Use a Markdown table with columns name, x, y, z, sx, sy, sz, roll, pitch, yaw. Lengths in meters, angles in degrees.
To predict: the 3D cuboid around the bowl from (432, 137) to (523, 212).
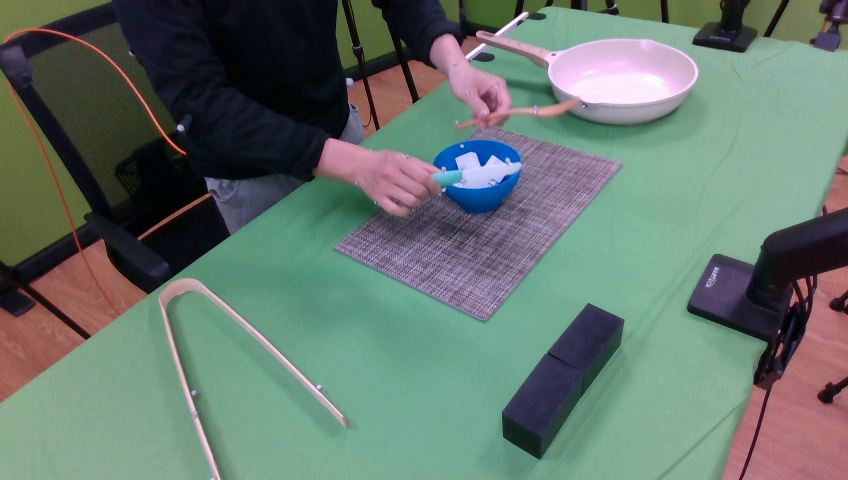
| name | x | y | z | sx | sy | sz | roll | pitch | yaw |
| --- | --- | --- | --- | --- | --- | --- | --- | --- | --- |
| bowl | 0.091 | -0.100 | 1.022 | 0.151 | 0.077 | 0.150 | -4 | 41 | 4 |

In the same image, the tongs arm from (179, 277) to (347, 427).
| name | x | y | z | sx | sy | sz | roll | pitch | yaw |
| --- | --- | --- | --- | --- | --- | --- | --- | --- | --- |
| tongs arm | -0.231 | 0.141 | 0.832 | 0.384 | 0.028 | 0.028 | 30 | 55 | 35 |

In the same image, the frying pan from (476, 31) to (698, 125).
| name | x | y | z | sx | sy | sz | roll | pitch | yaw |
| --- | --- | --- | --- | --- | --- | --- | --- | --- | --- |
| frying pan | 0.321 | -0.371 | 1.290 | 0.484 | 0.103 | 0.307 | 29 | 51 | 23 |

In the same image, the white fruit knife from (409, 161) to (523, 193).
| name | x | y | z | sx | sy | sz | roll | pitch | yaw |
| --- | --- | --- | --- | --- | --- | --- | --- | --- | --- |
| white fruit knife | 0.049 | -0.086 | 0.806 | 0.206 | 0.027 | 0.016 | -6 | 41 | 46 |

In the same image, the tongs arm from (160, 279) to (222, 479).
| name | x | y | z | sx | sy | sz | roll | pitch | yaw |
| --- | --- | --- | --- | --- | --- | --- | --- | --- | --- |
| tongs arm | -0.297 | 0.174 | 0.797 | 0.051 | 0.026 | 0.381 | -25 | 43 | -21 |

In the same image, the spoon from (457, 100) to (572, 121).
| name | x | y | z | sx | sy | sz | roll | pitch | yaw |
| --- | --- | --- | --- | --- | --- | --- | --- | --- | --- |
| spoon | 0.125 | -0.185 | 0.873 | 0.192 | 0.022 | 0.041 | 8 | 49 | 39 |
